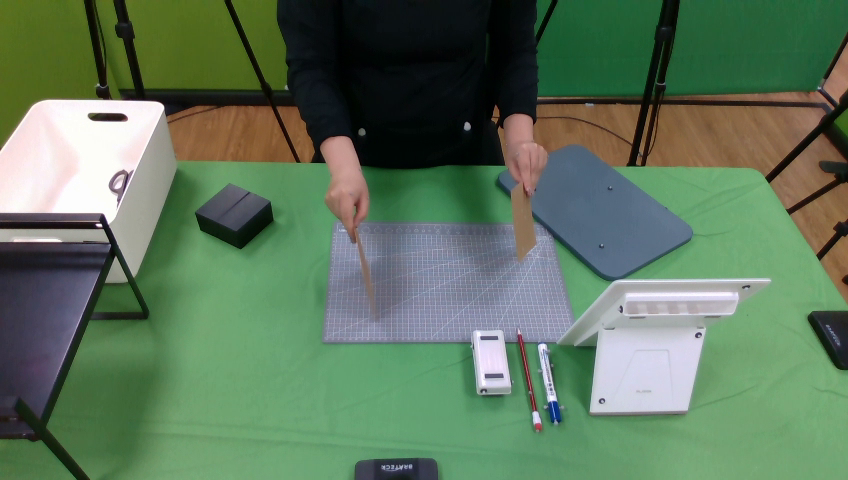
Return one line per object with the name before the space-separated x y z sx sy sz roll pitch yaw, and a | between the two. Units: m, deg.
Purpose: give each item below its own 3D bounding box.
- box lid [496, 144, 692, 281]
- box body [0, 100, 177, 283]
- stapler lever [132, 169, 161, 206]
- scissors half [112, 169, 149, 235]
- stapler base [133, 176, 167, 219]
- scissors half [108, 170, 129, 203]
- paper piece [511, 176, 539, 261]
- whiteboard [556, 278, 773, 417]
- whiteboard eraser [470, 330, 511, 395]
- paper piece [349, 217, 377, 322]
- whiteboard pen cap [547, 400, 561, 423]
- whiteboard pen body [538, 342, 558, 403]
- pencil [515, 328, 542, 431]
box lid | 0.360 -0.073 1.304 0.263 0.015 0.369 -24 52 -25
box body | -0.639 -0.095 1.140 0.254 0.161 0.361 1 46 -4
stapler lever | -0.557 -0.113 1.218 0.027 0.040 0.117 2 40 -9
scissors half | -0.596 -0.078 1.223 0.040 0.013 0.174 5 52 2
stapler base | -0.559 -0.093 1.234 0.041 0.024 0.129 2 41 -9
scissors half | -0.617 -0.077 1.222 0.040 0.013 0.174 -15 53 -7
paper piece | 0.186 -0.043 1.116 0.004 0.136 0.135 -4 12 25
whiteboard | 0.347 0.174 0.903 0.217 0.306 0.143 1 65 -4
whiteboard eraser | 0.109 0.203 0.998 0.055 0.042 0.112 1 46 -5
paper piece | -0.104 0.050 1.054 0.008 0.137 0.137 -13 51 -4
whiteboard pen cap | 0.205 0.269 0.956 0.018 0.018 0.033 0 46 -5
whiteboard pen body | 0.205 0.228 0.996 0.017 0.017 0.140 1 46 -3
pencil | 0.169 0.224 1.002 0.012 0.012 0.192 -2 46 -6
